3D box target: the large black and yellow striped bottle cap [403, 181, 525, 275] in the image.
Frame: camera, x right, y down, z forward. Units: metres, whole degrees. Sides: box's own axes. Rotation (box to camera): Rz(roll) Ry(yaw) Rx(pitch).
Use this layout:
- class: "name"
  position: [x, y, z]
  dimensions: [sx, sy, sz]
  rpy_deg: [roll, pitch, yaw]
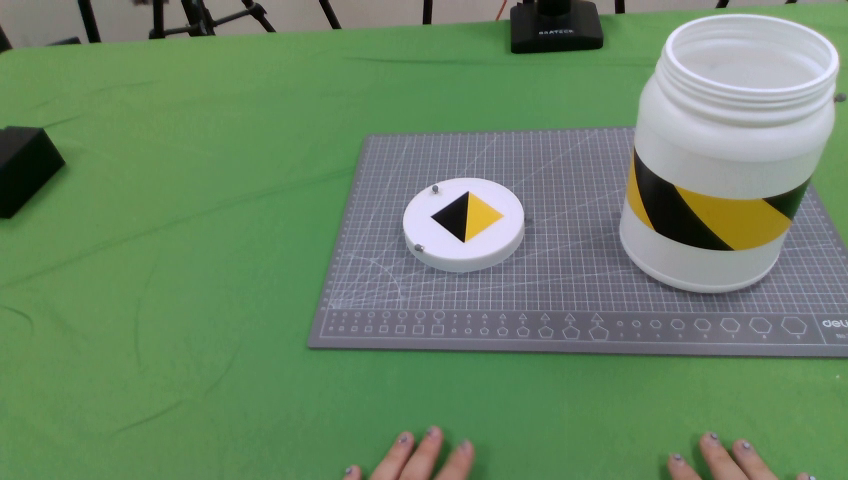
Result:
- class: "large black and yellow striped bottle cap"
  position: [0.037, -0.015, 0.573]
  dimensions: [0.115, 0.019, 0.114]
  rpy_deg: [-3, 45, 4]

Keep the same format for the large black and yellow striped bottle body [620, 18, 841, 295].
- class: "large black and yellow striped bottle body"
  position: [0.229, -0.061, 0.471]
  dimensions: [0.131, 0.186, 0.129]
  rpy_deg: [-4, 44, 5]
